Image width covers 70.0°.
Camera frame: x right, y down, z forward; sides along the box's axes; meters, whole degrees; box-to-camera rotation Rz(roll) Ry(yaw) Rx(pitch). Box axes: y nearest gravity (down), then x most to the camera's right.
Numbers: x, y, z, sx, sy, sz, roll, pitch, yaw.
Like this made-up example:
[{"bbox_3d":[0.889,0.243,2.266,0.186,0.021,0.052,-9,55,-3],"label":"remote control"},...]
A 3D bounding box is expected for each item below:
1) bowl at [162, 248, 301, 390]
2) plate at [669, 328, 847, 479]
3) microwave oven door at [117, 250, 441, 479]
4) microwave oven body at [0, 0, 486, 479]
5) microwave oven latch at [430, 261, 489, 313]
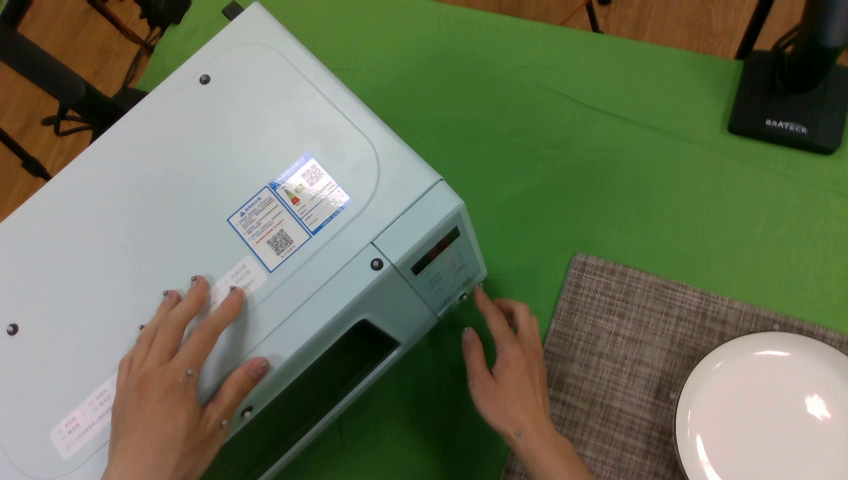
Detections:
[{"bbox_3d":[-0.195,0.092,0.661,0.151,0.077,0.150,-4,68,11],"label":"bowl"},{"bbox_3d":[0.351,0.193,0.604,0.207,0.039,0.206,-3,72,10],"label":"plate"},{"bbox_3d":[-0.142,0.165,0.584,0.355,0.245,0.039,-43,69,-4],"label":"microwave oven door"},{"bbox_3d":[-0.206,0.040,0.640,0.441,0.262,0.323,-43,71,-4],"label":"microwave oven body"},{"bbox_3d":[0.039,0.048,0.694,0.079,0.030,0.030,-41,70,-3],"label":"microwave oven latch"}]
